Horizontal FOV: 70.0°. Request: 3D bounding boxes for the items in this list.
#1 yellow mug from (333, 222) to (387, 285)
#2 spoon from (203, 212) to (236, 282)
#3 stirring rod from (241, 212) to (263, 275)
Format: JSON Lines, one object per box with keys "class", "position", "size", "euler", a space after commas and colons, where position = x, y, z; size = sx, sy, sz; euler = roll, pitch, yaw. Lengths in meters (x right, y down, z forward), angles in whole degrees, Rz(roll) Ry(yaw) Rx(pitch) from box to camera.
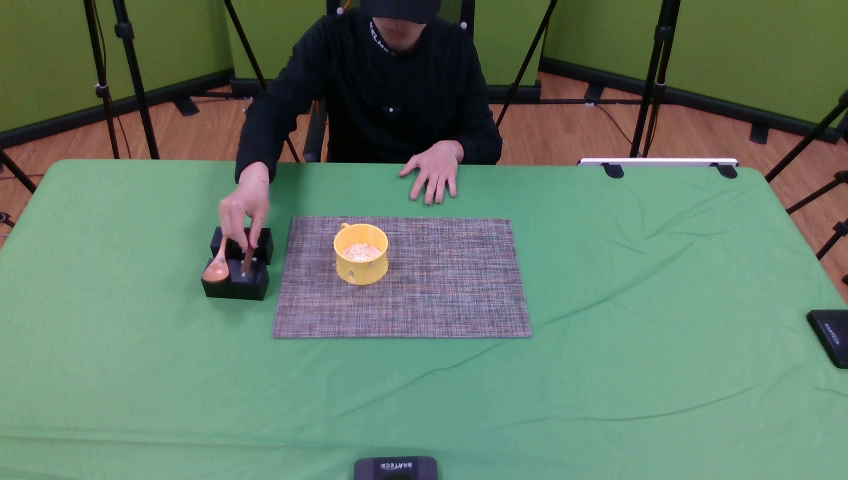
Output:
{"class": "yellow mug", "position": [-0.127, 0.016, 1.139], "size": [0.100, 0.064, 0.130], "euler": [-23, 51, -24]}
{"class": "spoon", "position": [-0.361, 0.009, 1.097], "size": [0.041, 0.022, 0.192], "euler": [1, 44, -3]}
{"class": "stirring rod", "position": [-0.309, 0.003, 1.091], "size": [0.006, 0.014, 0.175], "euler": [-23, 35, 13]}
